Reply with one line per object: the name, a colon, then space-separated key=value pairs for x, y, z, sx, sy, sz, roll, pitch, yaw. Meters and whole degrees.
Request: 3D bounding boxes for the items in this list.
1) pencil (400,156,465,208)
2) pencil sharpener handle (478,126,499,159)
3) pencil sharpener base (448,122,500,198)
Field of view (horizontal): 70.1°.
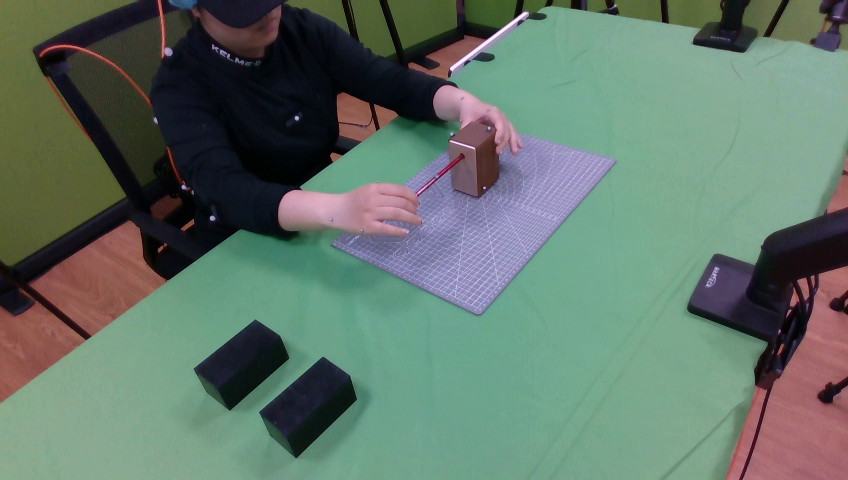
pencil: x=0.025 y=-0.102 z=0.975 sx=0.012 sy=0.012 sz=0.194 roll=22 pitch=45 yaw=30
pencil sharpener handle: x=0.119 y=-0.177 z=1.073 sx=0.035 sy=0.068 sz=0.031 roll=20 pitch=47 yaw=32
pencil sharpener base: x=0.090 y=-0.140 z=1.052 sx=0.061 sy=0.107 sz=0.077 roll=22 pitch=48 yaw=31
